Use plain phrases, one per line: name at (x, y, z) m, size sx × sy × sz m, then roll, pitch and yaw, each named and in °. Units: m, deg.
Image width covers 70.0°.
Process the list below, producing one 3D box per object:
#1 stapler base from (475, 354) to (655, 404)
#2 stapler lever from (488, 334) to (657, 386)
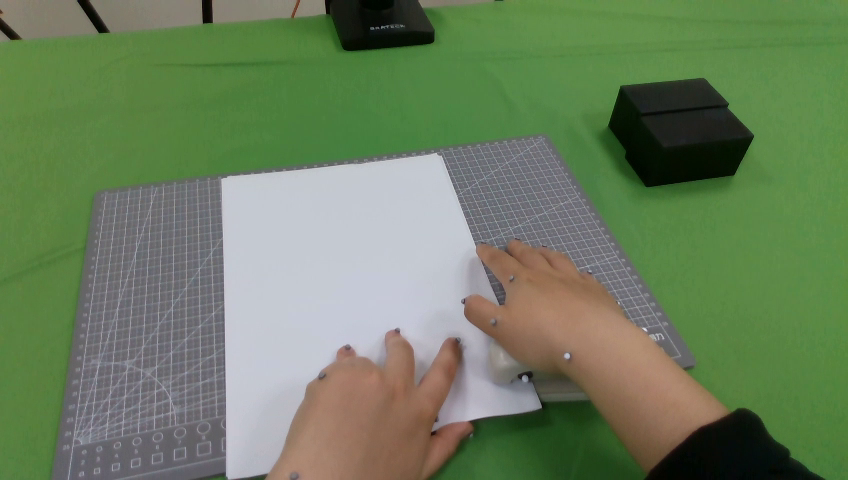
stapler base at (0.103, 0.093, 0.439) m, size 0.131 × 0.024 × 0.041 m, roll -1°, pitch 48°, yaw -7°
stapler lever at (0.104, 0.085, 0.432) m, size 0.118 × 0.040 × 0.026 m, roll -11°, pitch 48°, yaw 5°
